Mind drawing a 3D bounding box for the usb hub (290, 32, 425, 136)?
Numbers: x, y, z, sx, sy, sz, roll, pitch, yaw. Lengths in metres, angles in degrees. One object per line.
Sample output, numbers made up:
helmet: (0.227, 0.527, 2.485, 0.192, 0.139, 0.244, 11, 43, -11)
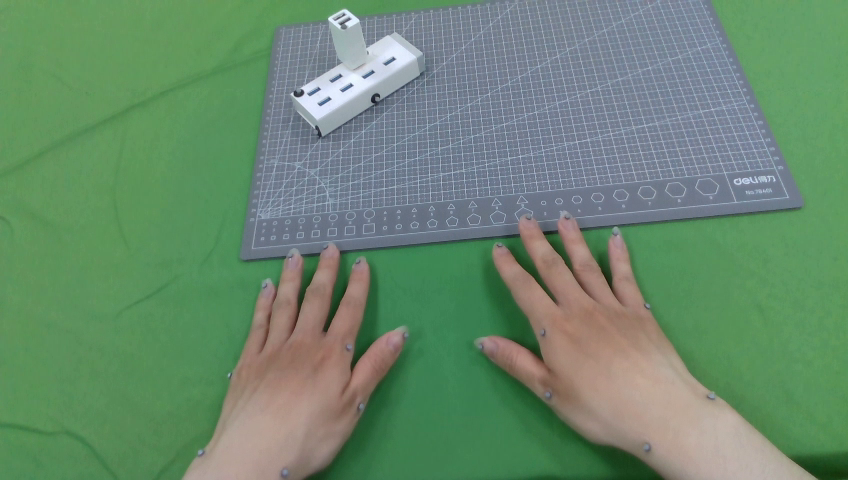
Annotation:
usb hub: (-0.063, -0.152, 0.580, 0.125, 0.025, 0.049, -36, 59, -16)

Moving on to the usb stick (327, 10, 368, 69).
usb stick: (-0.069, -0.181, 0.565, 0.021, 0.060, 0.027, -38, 58, -16)
